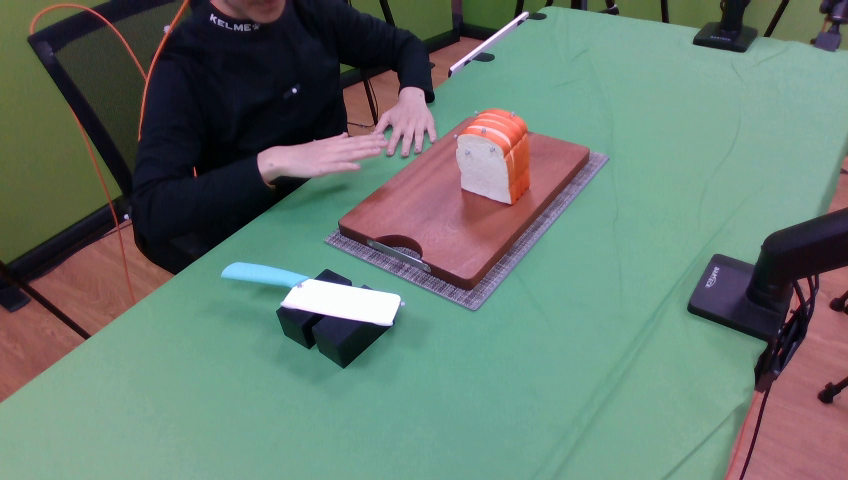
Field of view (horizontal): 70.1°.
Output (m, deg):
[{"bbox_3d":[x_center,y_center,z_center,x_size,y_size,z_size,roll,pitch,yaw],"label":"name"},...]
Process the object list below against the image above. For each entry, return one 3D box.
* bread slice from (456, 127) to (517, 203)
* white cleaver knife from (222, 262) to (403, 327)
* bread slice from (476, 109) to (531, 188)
[{"bbox_3d":[0.096,-0.121,0.969,0.104,0.132,0.019,20,54,30],"label":"bread slice"},{"bbox_3d":[-0.165,0.072,0.844,0.285,0.021,0.066,9,43,20],"label":"white cleaver knife"},{"bbox_3d":[0.130,-0.152,0.999,0.106,0.135,0.018,23,49,28],"label":"bread slice"}]
